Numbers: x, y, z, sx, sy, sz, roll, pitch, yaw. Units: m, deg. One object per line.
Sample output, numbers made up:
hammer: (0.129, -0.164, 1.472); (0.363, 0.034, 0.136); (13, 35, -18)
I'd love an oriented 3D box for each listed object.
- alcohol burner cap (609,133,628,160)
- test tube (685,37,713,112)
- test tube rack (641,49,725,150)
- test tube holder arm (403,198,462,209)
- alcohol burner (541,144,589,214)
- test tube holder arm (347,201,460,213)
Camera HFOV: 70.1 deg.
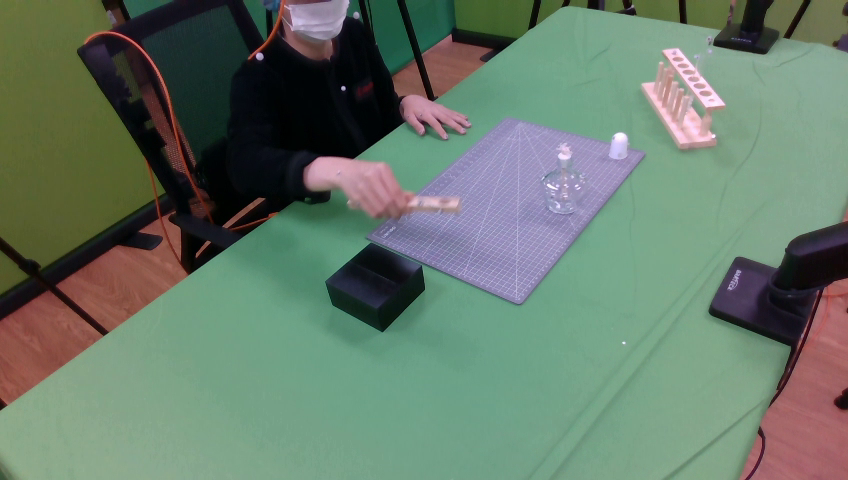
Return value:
alcohol burner cap: (0.356, -0.172, 1.100); (0.034, 0.048, 0.033); (-5, 41, 5)
test tube: (0.509, -0.306, 1.128); (0.017, 0.151, 0.017); (-1, 45, 1)
test tube rack: (0.495, -0.279, 1.175); (0.067, 0.085, 0.241); (-5, 41, 3)
test tube holder arm: (0.010, -0.050, 0.843); (0.087, 0.015, 0.010); (2, 44, 25)
alcohol burner: (0.229, -0.102, 0.983); (0.078, 0.119, 0.077); (-6, 41, 5)
test tube holder arm: (-0.033, -0.048, 0.858); (0.177, 0.015, 0.013); (1, 44, 24)
